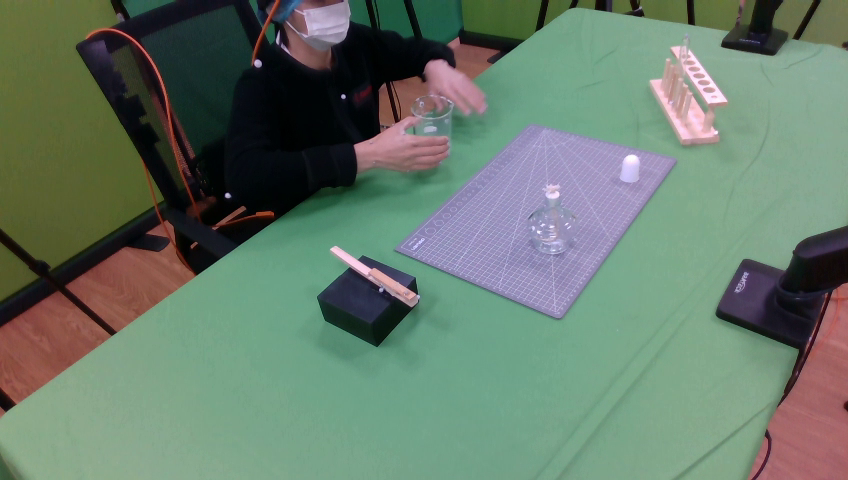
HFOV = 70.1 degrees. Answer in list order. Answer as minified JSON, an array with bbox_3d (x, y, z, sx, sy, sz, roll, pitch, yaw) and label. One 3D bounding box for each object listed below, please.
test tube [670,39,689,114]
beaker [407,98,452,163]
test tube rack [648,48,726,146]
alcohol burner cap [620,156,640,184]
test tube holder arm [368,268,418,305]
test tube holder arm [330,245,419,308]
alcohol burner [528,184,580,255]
[{"bbox_3d":[0.484,-0.308,1.146,0.017,0.151,0.017,-5,41,5],"label":"test tube"},{"bbox_3d":[0.013,-0.198,1.103,0.084,0.100,0.073,-20,48,-16],"label":"beaker"},{"bbox_3d":[0.509,-0.285,1.186,0.067,0.085,0.241,-4,40,6],"label":"test tube rack"},{"bbox_3d":[0.358,-0.124,1.047,0.034,0.048,0.033,-4,40,4],"label":"alcohol burner cap"},{"bbox_3d":[-0.043,0.063,0.827,0.015,0.010,0.087,-36,47,-29],"label":"test tube holder arm"},{"bbox_3d":[-0.074,0.049,0.857,0.015,0.013,0.177,-36,48,-29],"label":"test tube holder arm"},{"bbox_3d":[0.196,-0.036,0.911,0.078,0.119,0.077,-6,41,5],"label":"alcohol burner"}]
